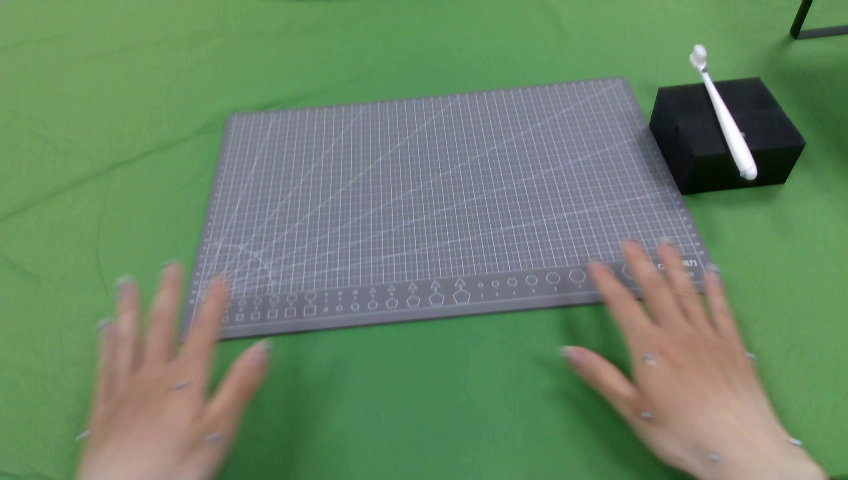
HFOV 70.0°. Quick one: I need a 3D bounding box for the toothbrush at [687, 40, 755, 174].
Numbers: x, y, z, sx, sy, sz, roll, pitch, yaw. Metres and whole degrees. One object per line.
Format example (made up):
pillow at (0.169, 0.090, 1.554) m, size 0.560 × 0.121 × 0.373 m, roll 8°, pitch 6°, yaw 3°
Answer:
toothbrush at (0.272, -0.128, 0.557) m, size 0.014 × 0.017 × 0.180 m, roll 0°, pitch 51°, yaw 1°
